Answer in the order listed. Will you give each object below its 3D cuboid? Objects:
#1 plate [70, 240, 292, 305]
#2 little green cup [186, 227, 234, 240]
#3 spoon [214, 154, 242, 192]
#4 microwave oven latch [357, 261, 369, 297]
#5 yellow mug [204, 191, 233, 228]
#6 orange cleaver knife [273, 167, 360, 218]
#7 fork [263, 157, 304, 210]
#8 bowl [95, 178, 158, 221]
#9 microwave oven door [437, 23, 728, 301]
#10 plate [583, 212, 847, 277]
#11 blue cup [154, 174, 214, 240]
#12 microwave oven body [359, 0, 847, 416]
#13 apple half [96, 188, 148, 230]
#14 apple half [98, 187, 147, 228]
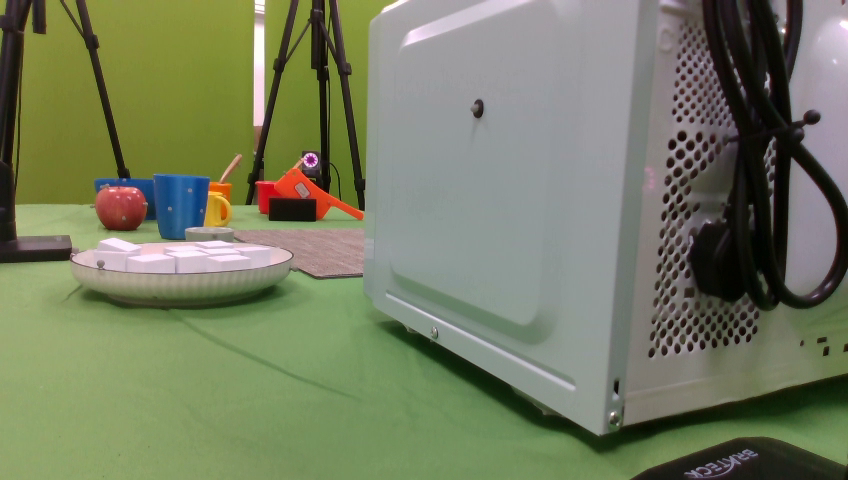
[{"bbox_3d":[-0.242,0.031,0.618,0.208,0.039,0.207,2,8,0],"label":"plate"},{"bbox_3d":[-0.284,0.005,0.805,0.061,0.038,0.061,2,8,0],"label":"little green cup"},{"bbox_3d":[-0.439,-0.124,1.318,0.041,0.193,0.022,6,-36,16],"label":"spoon"},{"bbox_3d":[-0.019,0.033,0.531,0.079,0.029,0.030,-1,7,-26],"label":"microwave oven latch"},{"bbox_3d":[-0.415,-0.057,1.132,0.130,0.064,0.100,6,8,16],"label":"yellow mug"},{"bbox_3d":[-0.238,-0.091,1.381,0.212,0.077,0.012,31,0,-19],"label":"orange cleaver knife"},{"bbox_3d":[-0.345,-0.143,1.505,0.028,0.019,0.207,-3,46,28],"label":"fork"},{"bbox_3d":[-0.576,-0.081,1.217,0.151,0.077,0.151,3,8,0],"label":"bowl"},{"bbox_3d":[0.181,-0.072,0.621,0.358,0.243,0.039,-2,8,-29],"label":"microwave oven door"},{"bbox_3d":[0.239,0.001,0.510,0.209,0.038,0.209,2,6,0],"label":"plate"},{"bbox_3d":[-0.391,-0.053,0.978,0.093,0.100,0.092,4,6,0],"label":"blue cup"},{"bbox_3d":[0.211,-0.047,0.474,0.444,0.260,0.324,-1,7,-28],"label":"microwave oven body"},{"bbox_3d":[-0.517,-0.052,1.036,0.081,0.074,0.053,2,10,-26],"label":"apple half"},{"bbox_3d":[-0.534,-0.059,1.071,0.082,0.081,0.032,-1,11,-25],"label":"apple half"}]
